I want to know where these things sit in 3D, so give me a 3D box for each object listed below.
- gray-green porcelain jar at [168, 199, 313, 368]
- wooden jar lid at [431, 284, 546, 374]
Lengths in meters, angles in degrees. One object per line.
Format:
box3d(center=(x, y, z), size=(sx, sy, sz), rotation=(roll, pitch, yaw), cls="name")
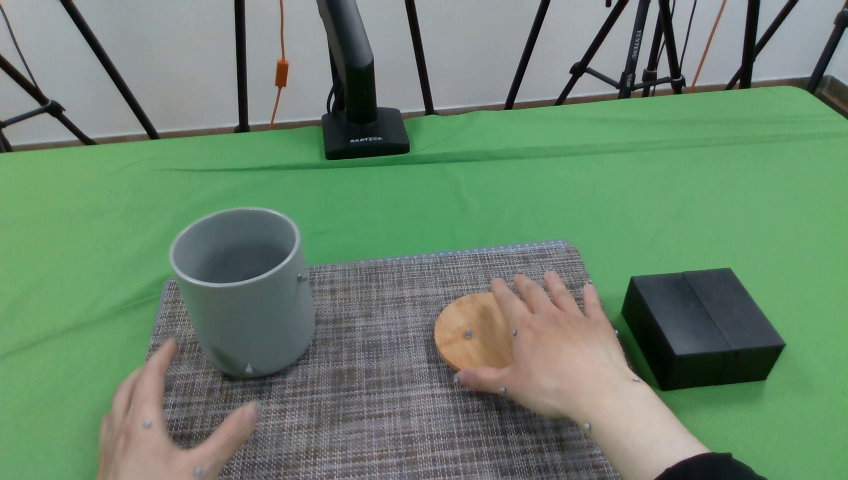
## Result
box3d(center=(-0.157, 0.043, 0.543), size=(0.106, 0.127, 0.105), rotation=(0, 41, 0), cls="gray-green porcelain jar")
box3d(center=(0.061, 0.085, 0.577), size=(0.108, 0.021, 0.107), rotation=(2, 41, -1), cls="wooden jar lid")
